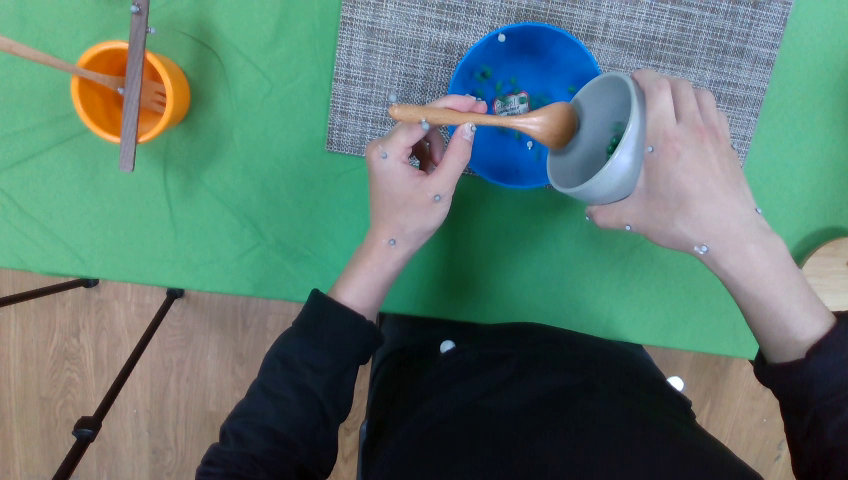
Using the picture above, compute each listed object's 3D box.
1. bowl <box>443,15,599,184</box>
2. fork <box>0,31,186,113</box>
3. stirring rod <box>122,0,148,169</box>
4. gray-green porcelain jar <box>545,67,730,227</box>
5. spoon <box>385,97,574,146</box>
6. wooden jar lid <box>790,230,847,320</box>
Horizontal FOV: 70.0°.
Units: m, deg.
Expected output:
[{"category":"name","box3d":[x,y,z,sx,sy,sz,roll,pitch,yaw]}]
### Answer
[{"category":"bowl","box3d":[0.091,-0.136,0.595,0.151,0.076,0.152,-1,106,-2]},{"category":"fork","box3d":[-0.310,-0.155,0.535,0.209,0.018,0.028,14,113,-52]},{"category":"stirring rod","box3d":[-0.256,-0.149,0.537,0.014,0.006,0.177,10,106,-4]},{"category":"gray-green porcelain jar","box3d":[0.186,-0.074,0.523,0.127,0.105,0.106,19,105,-23]},{"category":"spoon","box3d":[0.053,-0.099,0.486,0.195,0.021,0.042,-3,109,-30]},{"category":"wooden jar lid","box3d":[0.475,0.039,0.700,0.108,0.020,0.109,-1,107,-2]}]
